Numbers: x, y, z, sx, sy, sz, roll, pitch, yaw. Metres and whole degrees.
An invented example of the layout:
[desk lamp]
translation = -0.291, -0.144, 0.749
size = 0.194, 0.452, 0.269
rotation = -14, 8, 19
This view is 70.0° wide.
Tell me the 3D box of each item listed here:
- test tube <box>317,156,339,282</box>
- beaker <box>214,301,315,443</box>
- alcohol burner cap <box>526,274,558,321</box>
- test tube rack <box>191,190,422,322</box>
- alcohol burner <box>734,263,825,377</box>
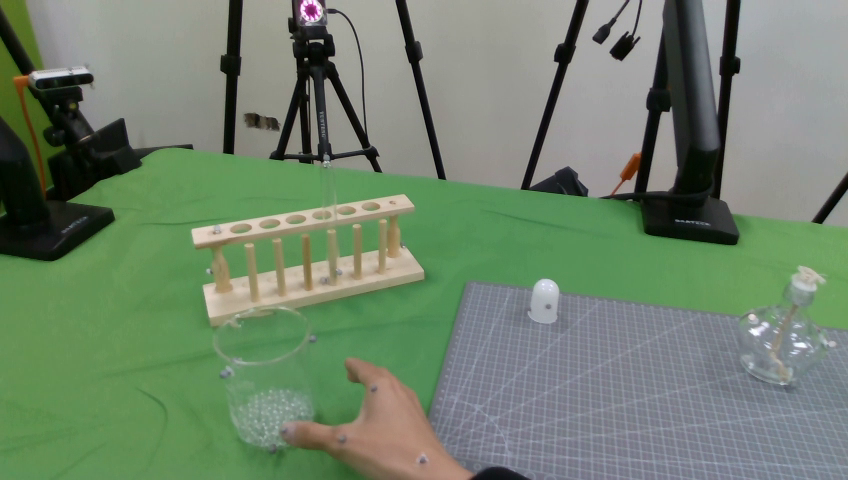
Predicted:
[test tube]
translation = -0.102, -0.019, 0.651
size = 0.017, 0.151, 0.017
rotation = 2, 32, -1
[beaker]
translation = -0.131, 0.111, 0.506
size = 0.083, 0.101, 0.074
rotation = 25, 38, 35
[alcohol burner cap]
translation = 0.128, 0.059, 0.653
size = 0.034, 0.048, 0.033
rotation = 1, 31, 0
[test tube rack]
translation = -0.126, 0.013, 0.683
size = 0.243, 0.086, 0.066
rotation = -11, 34, -20
[alcohol burner]
translation = 0.340, 0.071, 0.571
size = 0.078, 0.120, 0.077
rotation = 2, 32, -1
